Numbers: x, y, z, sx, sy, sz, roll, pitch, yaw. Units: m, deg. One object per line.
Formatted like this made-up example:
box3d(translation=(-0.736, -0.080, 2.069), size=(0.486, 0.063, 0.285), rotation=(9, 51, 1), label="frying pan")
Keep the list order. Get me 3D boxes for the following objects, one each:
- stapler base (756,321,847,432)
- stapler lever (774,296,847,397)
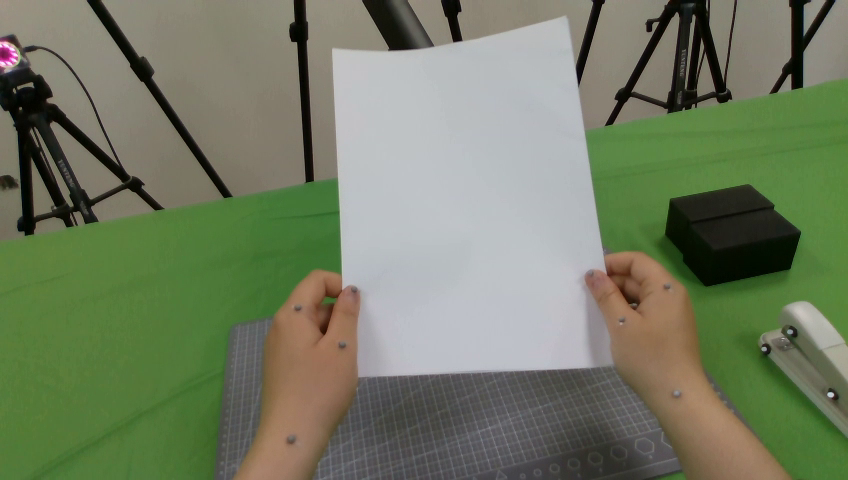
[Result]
box3d(translation=(0.350, 0.113, 0.533), size=(0.041, 0.024, 0.129), rotation=(-14, 38, -7), label="stapler base")
box3d(translation=(0.348, 0.094, 0.518), size=(0.027, 0.040, 0.116), rotation=(-14, 36, -6), label="stapler lever")
